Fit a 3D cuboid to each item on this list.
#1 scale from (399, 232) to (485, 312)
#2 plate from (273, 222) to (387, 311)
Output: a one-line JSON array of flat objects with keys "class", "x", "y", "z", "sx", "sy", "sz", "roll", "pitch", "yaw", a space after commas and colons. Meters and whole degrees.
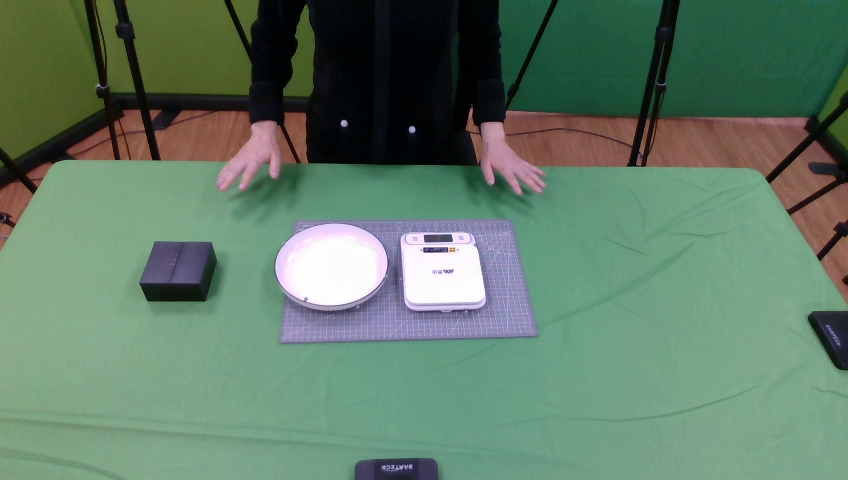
[{"class": "scale", "x": 0.031, "y": 0.050, "z": 1.141, "sx": 0.149, "sy": 0.032, "sz": 0.199, "roll": -1, "pitch": 46, "yaw": -5}, {"class": "plate", "x": -0.172, "y": 0.051, "z": 1.120, "sx": 0.209, "sy": 0.038, "sz": 0.208, "roll": 2, "pitch": 46, "yaw": -2}]
